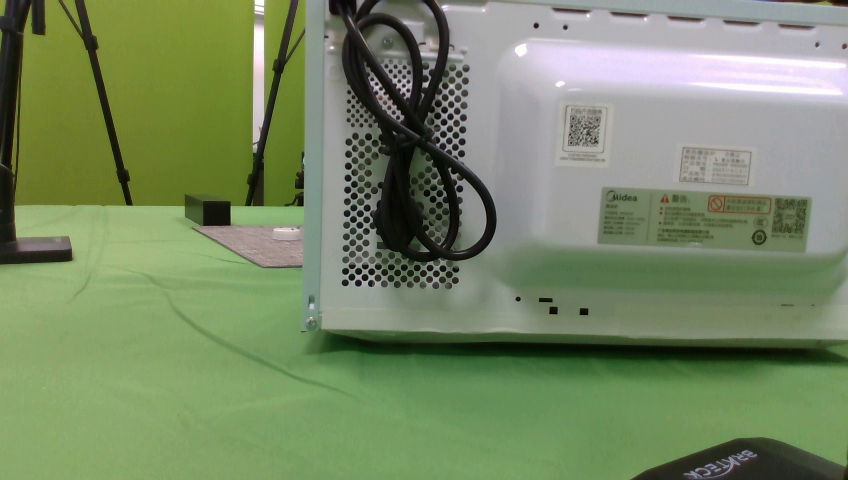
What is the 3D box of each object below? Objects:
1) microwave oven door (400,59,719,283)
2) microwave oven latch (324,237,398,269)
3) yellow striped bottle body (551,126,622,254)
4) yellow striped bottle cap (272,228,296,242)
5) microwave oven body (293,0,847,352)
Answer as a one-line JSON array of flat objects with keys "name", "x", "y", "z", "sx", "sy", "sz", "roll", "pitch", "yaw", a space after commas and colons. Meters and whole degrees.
[{"name": "microwave oven door", "x": 0.155, "y": -0.079, "z": 0.709, "sx": 0.356, "sy": 0.243, "sz": 0.039, "roll": 2, "pitch": 8, "yaw": -1}, {"name": "microwave oven latch", "x": -0.072, "y": 0.015, "z": 0.691, "sx": 0.079, "sy": 0.029, "sz": 0.030, "roll": 4, "pitch": 7, "yaw": 5}, {"name": "yellow striped bottle body", "x": 0.157, "y": -0.049, "z": 0.586, "sx": 0.063, "sy": 0.120, "sz": 0.063, "roll": 1, "pitch": 7, "yaw": 0}, {"name": "yellow striped bottle cap", "x": -0.232, "y": -0.008, "z": 1.012, "sx": 0.044, "sy": 0.018, "sz": 0.044, "roll": 4, "pitch": 8, "yaw": 0}, {"name": "microwave oven body", "x": 0.122, "y": -0.055, "z": 0.551, "sx": 0.442, "sy": 0.260, "sz": 0.325, "roll": 3, "pitch": 7, "yaw": -5}]
